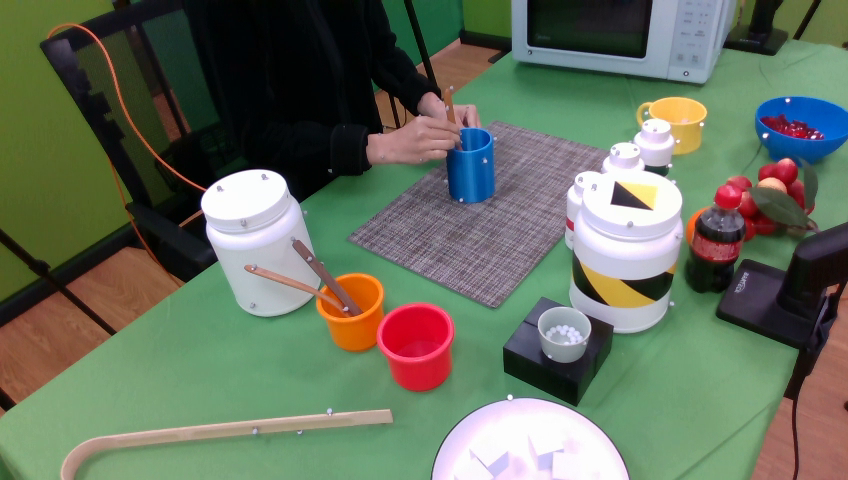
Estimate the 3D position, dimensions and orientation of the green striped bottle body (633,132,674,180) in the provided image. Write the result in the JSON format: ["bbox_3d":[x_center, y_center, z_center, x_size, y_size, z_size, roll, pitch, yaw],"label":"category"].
[{"bbox_3d":[0.376,-0.135,1.001,0.063,0.120,0.063,-5,40,5],"label":"green striped bottle body"}]

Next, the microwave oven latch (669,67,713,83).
[{"bbox_3d":[0.556,-0.348,1.261,0.078,0.029,0.030,16,46,27],"label":"microwave oven latch"}]

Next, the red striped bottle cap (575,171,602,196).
[{"bbox_3d":[0.242,-0.081,0.876,0.044,0.018,0.044,-5,43,5],"label":"red striped bottle cap"}]

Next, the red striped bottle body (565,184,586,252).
[{"bbox_3d":[0.247,-0.041,0.910,0.063,0.120,0.062,-3,39,3],"label":"red striped bottle body"}]

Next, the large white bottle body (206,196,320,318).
[{"bbox_3d":[-0.233,0.008,0.877,0.130,0.185,0.130,-4,40,4],"label":"large white bottle body"}]

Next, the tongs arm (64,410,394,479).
[{"bbox_3d":[-0.228,0.242,0.715,0.385,0.026,0.050,-5,44,4],"label":"tongs arm"}]

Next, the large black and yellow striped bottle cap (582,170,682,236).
[{"bbox_3d":[0.252,-0.048,0.735,0.115,0.019,0.114,-3,40,3],"label":"large black and yellow striped bottle cap"}]

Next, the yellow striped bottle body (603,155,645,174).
[{"bbox_3d":[0.314,-0.090,0.957,0.063,0.121,0.062,-4,40,4],"label":"yellow striped bottle body"}]

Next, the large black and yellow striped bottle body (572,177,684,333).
[{"bbox_3d":[0.262,0.017,0.788,0.131,0.185,0.130,-5,40,4],"label":"large black and yellow striped bottle body"}]

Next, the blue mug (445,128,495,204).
[{"bbox_3d":[0.081,-0.139,1.058,0.082,0.106,0.116,-4,40,4],"label":"blue mug"}]

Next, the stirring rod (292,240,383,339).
[{"bbox_3d":[-0.118,0.068,0.826,0.176,0.006,0.014,49,59,-4],"label":"stirring rod"}]

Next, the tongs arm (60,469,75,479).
[{"bbox_3d":[-0.238,0.303,0.649,0.386,0.028,0.028,6,50,16],"label":"tongs arm"}]

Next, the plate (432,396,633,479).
[{"bbox_3d":[0.112,0.261,0.634,0.209,0.038,0.208,-5,40,4],"label":"plate"}]

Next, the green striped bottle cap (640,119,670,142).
[{"bbox_3d":[0.370,-0.174,0.968,0.044,0.020,0.044,-3,41,3],"label":"green striped bottle cap"}]

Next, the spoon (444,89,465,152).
[{"bbox_3d":[0.056,-0.165,1.001,0.042,0.195,0.021,-27,41,-8],"label":"spoon"}]

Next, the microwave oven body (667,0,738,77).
[{"bbox_3d":[0.462,-0.552,1.369,0.439,0.261,0.326,15,45,26],"label":"microwave oven body"}]

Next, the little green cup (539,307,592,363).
[{"bbox_3d":[0.167,0.114,0.721,0.061,0.039,0.061,-4,43,4],"label":"little green cup"}]

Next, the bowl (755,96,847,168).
[{"bbox_3d":[0.645,-0.177,1.041,0.151,0.077,0.150,-5,40,4],"label":"bowl"}]

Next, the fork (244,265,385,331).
[{"bbox_3d":[-0.142,0.078,0.806,0.209,0.018,0.028,30,32,-23],"label":"fork"}]

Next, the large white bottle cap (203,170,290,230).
[{"bbox_3d":[-0.241,-0.057,0.822,0.115,0.018,0.114,-4,41,4],"label":"large white bottle cap"}]

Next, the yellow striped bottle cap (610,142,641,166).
[{"bbox_3d":[0.308,-0.131,0.925,0.044,0.019,0.044,-4,46,5],"label":"yellow striped bottle cap"}]

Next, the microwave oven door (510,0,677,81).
[{"bbox_3d":[0.354,-0.478,1.290,0.353,0.245,0.039,15,45,25],"label":"microwave oven door"}]

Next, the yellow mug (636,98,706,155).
[{"bbox_3d":[0.453,-0.217,1.128,0.100,0.064,0.129,-34,46,-27],"label":"yellow mug"}]
